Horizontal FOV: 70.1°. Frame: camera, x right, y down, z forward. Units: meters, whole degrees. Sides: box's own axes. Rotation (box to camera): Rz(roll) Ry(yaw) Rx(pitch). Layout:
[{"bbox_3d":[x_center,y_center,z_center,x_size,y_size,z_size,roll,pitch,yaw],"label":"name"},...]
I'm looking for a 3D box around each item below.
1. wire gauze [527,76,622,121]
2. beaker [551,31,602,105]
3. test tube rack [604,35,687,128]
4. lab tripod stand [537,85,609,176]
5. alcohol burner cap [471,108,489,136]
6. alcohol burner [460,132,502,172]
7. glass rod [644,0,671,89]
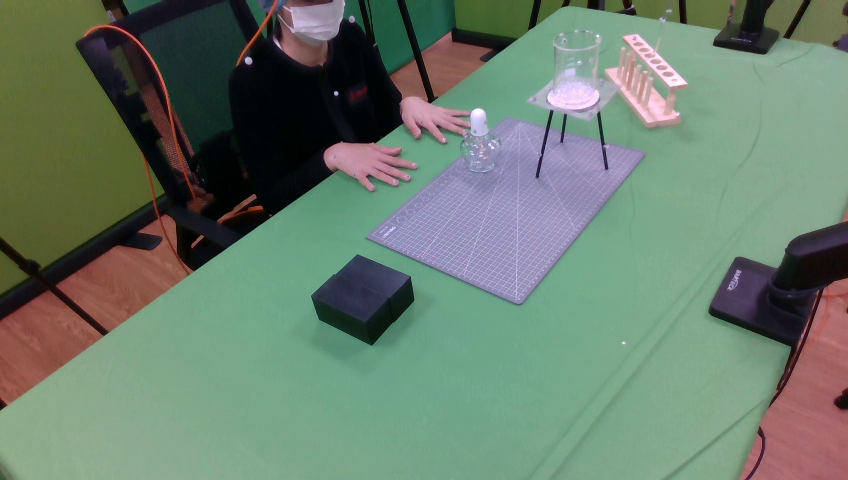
[{"bbox_3d":[0.255,-0.247,1.031,0.124,0.011,0.122,23,49,34],"label":"wire gauze"},{"bbox_3d":[0.252,-0.282,0.998,0.084,0.101,0.073,-16,42,-7],"label":"beaker"},{"bbox_3d":[0.447,-0.330,1.241,0.067,0.085,0.241,-9,41,-2],"label":"test tube rack"},{"bbox_3d":[0.259,-0.192,1.068,0.148,0.132,0.147,-4,42,4],"label":"lab tripod stand"},{"bbox_3d":[0.098,-0.211,1.074,0.034,0.048,0.033,-6,42,6],"label":"alcohol burner cap"},{"bbox_3d":[0.102,-0.185,1.098,0.078,0.119,0.077,-6,40,5],"label":"alcohol burner"},{"bbox_3d":[0.463,-0.387,1.204,0.008,0.200,0.008,0,47,1],"label":"glass rod"}]
